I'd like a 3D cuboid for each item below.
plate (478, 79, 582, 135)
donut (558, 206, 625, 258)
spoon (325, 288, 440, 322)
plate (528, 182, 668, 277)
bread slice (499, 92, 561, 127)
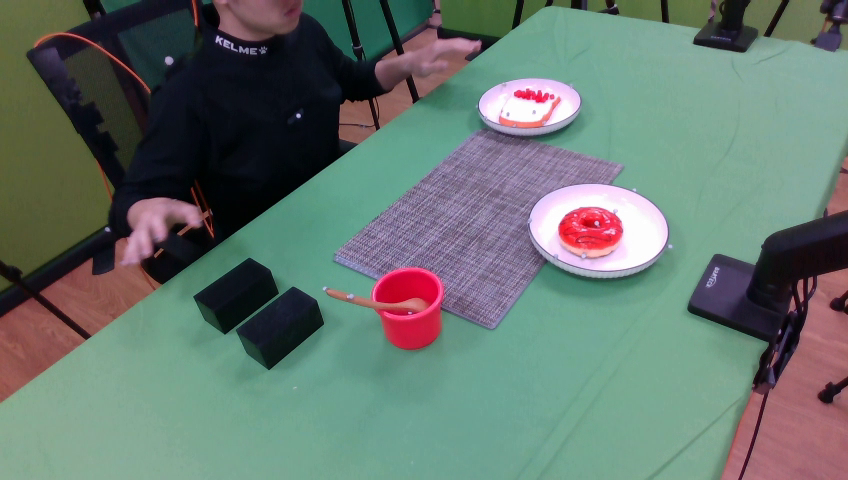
[{"bbox_3d":[0.216,-0.268,1.239,0.209,0.038,0.208,-4,40,4],"label":"plate"},{"bbox_3d":[0.254,-0.015,0.917,0.099,0.048,0.098,-5,41,5],"label":"donut"},{"bbox_3d":[-0.047,0.084,0.776,0.195,0.021,0.041,12,27,-42],"label":"spoon"},{"bbox_3d":[0.264,-0.014,0.933,0.207,0.039,0.206,-3,42,3],"label":"plate"},{"bbox_3d":[0.214,-0.268,1.243,0.104,0.019,0.131,12,43,21],"label":"bread slice"}]
